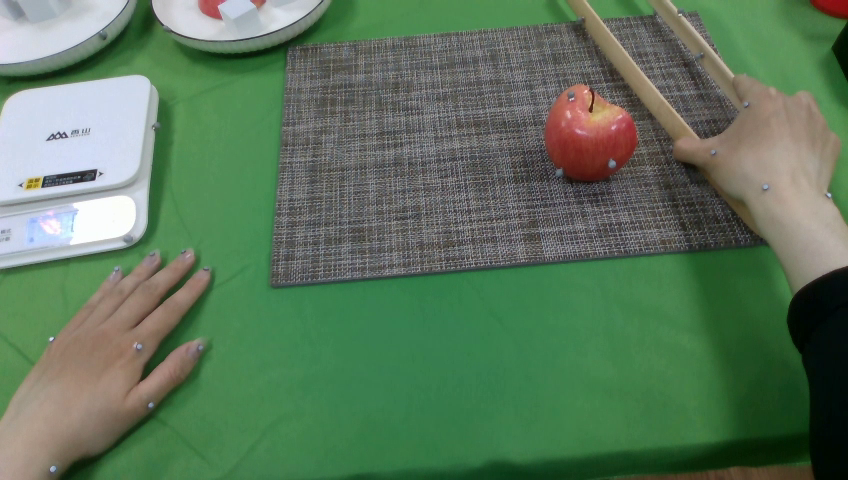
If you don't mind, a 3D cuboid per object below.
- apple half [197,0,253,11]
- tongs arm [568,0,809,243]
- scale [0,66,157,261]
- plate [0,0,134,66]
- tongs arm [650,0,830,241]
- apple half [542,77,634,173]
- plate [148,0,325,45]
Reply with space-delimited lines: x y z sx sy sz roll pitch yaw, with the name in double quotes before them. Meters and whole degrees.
"apple half" -0.224 -0.296 0.688 0.081 0.033 0.080 -3 55 5
"tongs arm" 0.221 -0.149 0.579 0.028 0.028 0.383 -19 59 -11
"scale" -0.331 -0.078 0.566 0.149 0.032 0.199 -9 58 -3
"plate" -0.427 -0.265 0.686 0.207 0.039 0.205 -1 58 2
"tongs arm" 0.265 -0.164 0.584 0.051 0.027 0.381 -18 60 -7
"apple half" 0.132 -0.091 0.522 0.053 0.075 0.080 -39 67 -15
"plate" -0.203 -0.289 0.689 0.209 0.038 0.207 -1 57 2
